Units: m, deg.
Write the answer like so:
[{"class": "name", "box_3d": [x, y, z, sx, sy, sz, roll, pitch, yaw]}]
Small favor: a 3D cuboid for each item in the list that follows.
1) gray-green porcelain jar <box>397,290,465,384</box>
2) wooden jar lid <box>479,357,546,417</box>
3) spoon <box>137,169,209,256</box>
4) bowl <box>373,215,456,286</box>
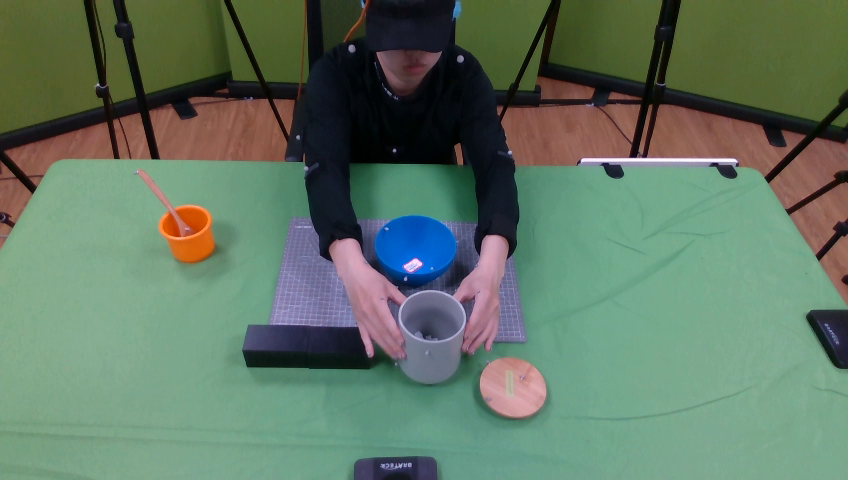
[{"class": "gray-green porcelain jar", "box_3d": [0.009, 0.160, 0.967, 0.106, 0.127, 0.105, 2, 44, -1]}, {"class": "wooden jar lid", "box_3d": [0.142, 0.240, 0.979, 0.108, 0.021, 0.107, 1, 46, -1]}, {"class": "spoon", "box_3d": [-0.466, -0.051, 1.123, 0.041, 0.194, 0.021, -40, 17, -33]}, {"class": "bowl", "box_3d": [-0.019, 0.032, 1.122, 0.151, 0.077, 0.150, 3, 46, -3]}]
